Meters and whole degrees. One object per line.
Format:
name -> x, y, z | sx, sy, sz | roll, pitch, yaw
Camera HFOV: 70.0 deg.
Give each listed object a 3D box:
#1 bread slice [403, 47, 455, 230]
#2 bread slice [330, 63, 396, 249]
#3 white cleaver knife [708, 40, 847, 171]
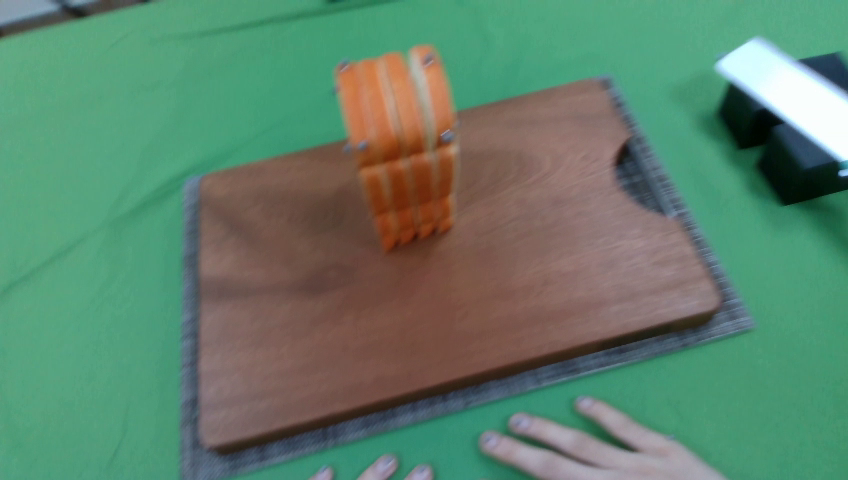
bread slice -> 0.004, -0.086, 0.492 | 0.019, 0.132, 0.104 | -13, 56, -8
bread slice -> -0.049, -0.074, 0.489 | 0.018, 0.135, 0.106 | -15, 53, -2
white cleaver knife -> 0.351, -0.084, 0.493 | 0.066, 0.022, 0.283 | -28, 59, -11
